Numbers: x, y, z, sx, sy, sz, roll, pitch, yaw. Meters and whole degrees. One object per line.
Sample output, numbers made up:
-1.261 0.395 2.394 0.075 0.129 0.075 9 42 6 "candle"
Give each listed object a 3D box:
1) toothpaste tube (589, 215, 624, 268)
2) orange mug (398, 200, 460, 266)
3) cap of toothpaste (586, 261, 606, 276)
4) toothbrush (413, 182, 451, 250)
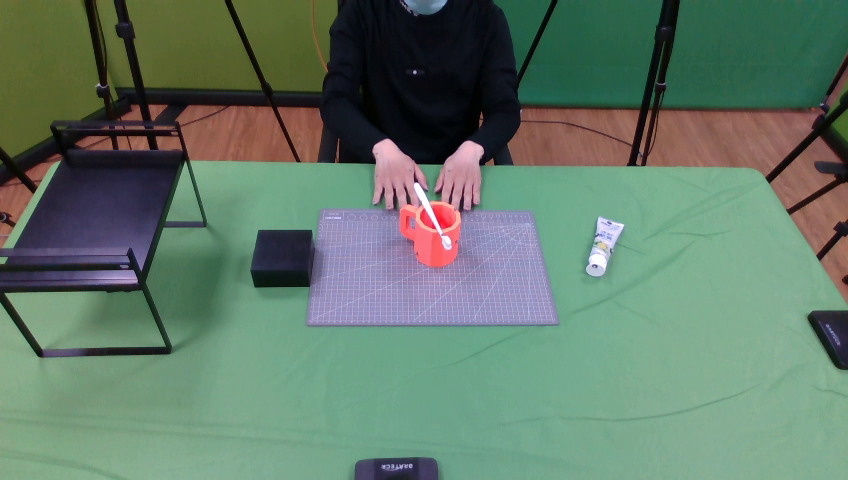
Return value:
0.363 0.005 1.216 0.055 0.034 0.164 24 46 9 "toothpaste tube"
0.007 -0.020 1.161 0.126 0.101 0.083 27 50 15 "orange mug"
0.330 0.053 1.160 0.037 0.037 0.011 12 48 7 "cap of toothpaste"
0.013 -0.050 1.118 0.014 0.017 0.180 -15 49 -14 "toothbrush"
